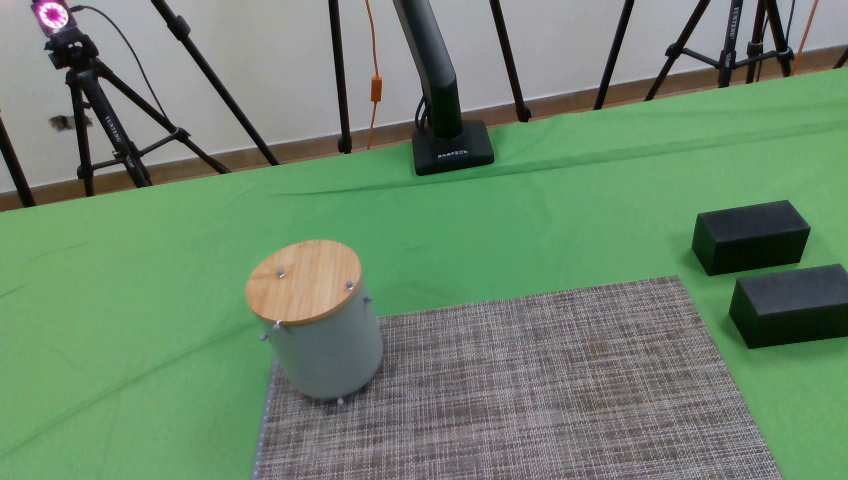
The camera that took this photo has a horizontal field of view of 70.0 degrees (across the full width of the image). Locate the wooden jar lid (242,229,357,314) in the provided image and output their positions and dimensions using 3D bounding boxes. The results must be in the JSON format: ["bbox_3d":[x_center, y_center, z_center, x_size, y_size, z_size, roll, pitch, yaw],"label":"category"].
[{"bbox_3d":[-0.114,0.031,0.566,0.108,0.021,0.107,-4,43,4],"label":"wooden jar lid"}]

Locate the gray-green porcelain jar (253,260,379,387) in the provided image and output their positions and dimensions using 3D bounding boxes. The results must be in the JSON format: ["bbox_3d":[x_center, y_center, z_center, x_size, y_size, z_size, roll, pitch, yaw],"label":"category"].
[{"bbox_3d":[-0.104,0.076,0.607,0.106,0.128,0.105,-6,42,6],"label":"gray-green porcelain jar"}]
